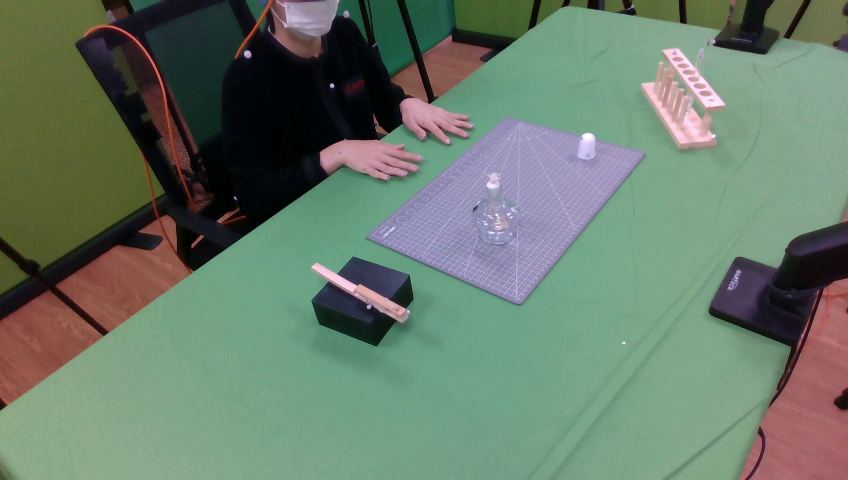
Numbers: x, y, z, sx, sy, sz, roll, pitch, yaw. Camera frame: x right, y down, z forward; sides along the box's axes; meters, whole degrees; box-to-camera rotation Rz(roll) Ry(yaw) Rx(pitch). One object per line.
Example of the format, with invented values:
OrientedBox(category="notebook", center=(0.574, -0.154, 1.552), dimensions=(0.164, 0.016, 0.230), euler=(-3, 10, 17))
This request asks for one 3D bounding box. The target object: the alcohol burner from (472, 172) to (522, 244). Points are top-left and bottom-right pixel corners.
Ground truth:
OrientedBox(category="alcohol burner", center=(0.112, -0.053, 0.942), dimensions=(0.078, 0.119, 0.077), euler=(-6, 40, 5))

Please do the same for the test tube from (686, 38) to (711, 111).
OrientedBox(category="test tube", center=(0.508, -0.305, 1.128), dimensions=(0.017, 0.151, 0.017), euler=(-2, 46, 3))

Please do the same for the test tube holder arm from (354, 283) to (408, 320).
OrientedBox(category="test tube holder arm", center=(-0.059, 0.081, 0.805), dimensions=(0.087, 0.010, 0.015), euler=(26, 52, 32))

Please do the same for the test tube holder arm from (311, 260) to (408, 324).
OrientedBox(category="test tube holder arm", center=(-0.092, 0.069, 0.832), dimensions=(0.177, 0.013, 0.015), euler=(26, 52, 32))

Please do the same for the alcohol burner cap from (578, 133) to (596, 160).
OrientedBox(category="alcohol burner cap", center=(0.301, -0.174, 1.111), dimensions=(0.034, 0.048, 0.033), euler=(-5, 40, 4))

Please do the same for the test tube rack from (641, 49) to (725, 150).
OrientedBox(category="test tube rack", center=(0.495, -0.279, 1.175), dimensions=(0.067, 0.085, 0.241), euler=(-5, 41, 3))
